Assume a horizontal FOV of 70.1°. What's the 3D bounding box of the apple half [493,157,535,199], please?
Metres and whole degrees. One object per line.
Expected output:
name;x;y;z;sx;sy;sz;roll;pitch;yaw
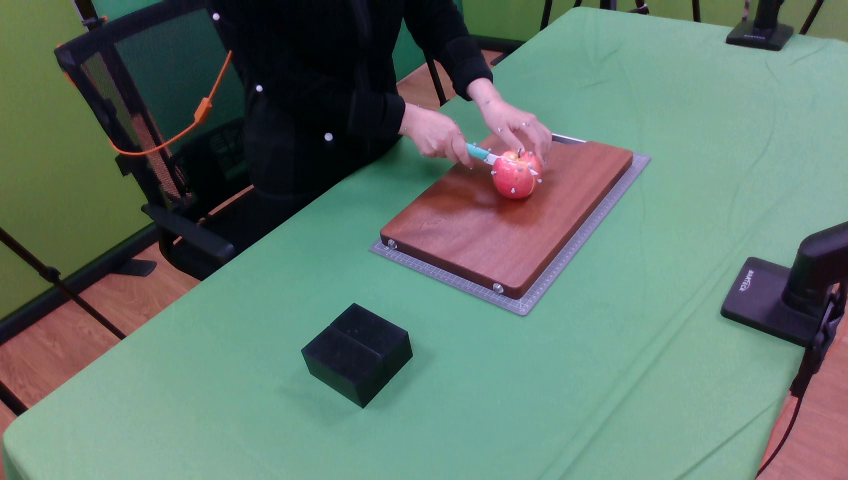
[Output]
apple half;0.140;-0.094;0.986;0.080;0.081;0.033;22;49;32

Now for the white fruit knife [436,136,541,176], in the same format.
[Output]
white fruit knife;0.104;-0.140;1.006;0.206;0.027;0.016;23;54;30

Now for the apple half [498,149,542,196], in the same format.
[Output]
apple half;0.162;-0.115;1.007;0.080;0.075;0.053;16;40;30
